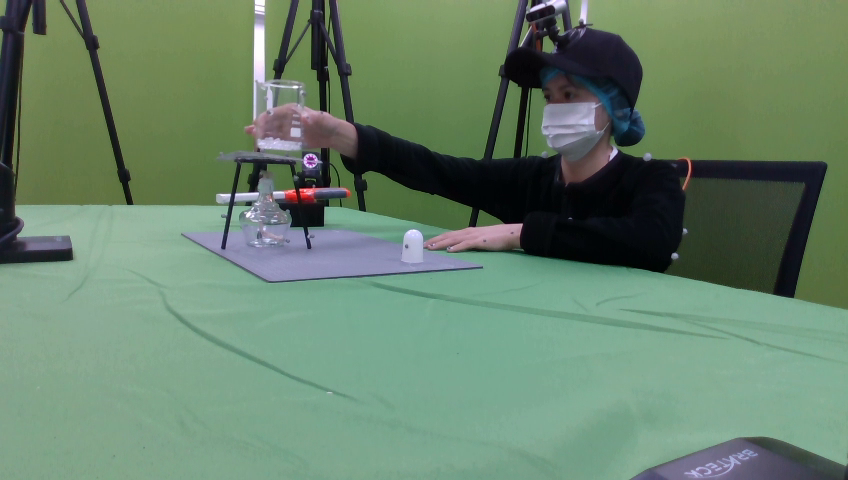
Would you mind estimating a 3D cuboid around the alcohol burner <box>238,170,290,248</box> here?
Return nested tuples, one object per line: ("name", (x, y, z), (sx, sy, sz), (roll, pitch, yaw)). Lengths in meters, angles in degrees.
("alcohol burner", (-0.244, -0.048, 0.927), (0.078, 0.119, 0.078), (3, 6, 0))

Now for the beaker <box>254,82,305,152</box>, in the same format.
("beaker", (-0.221, -0.184, 0.910), (0.074, 0.100, 0.084), (7, 9, 21))

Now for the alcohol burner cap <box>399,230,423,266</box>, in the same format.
("alcohol burner cap", (-0.017, 0.010, 0.837), (0.034, 0.048, 0.034), (3, 7, 0))

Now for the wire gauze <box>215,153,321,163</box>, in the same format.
("wire gauze", (-0.235, -0.123, 0.906), (0.126, 0.011, 0.121), (-2, 7, -33))

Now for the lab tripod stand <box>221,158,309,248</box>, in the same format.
("lab tripod stand", (-0.244, -0.057, 0.917), (0.148, 0.131, 0.148), (1, 7, 0))

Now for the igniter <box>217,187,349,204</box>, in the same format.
("igniter", (-0.285, -0.093, 1.256), (0.278, 0.025, 0.057), (-6, 12, -34))
